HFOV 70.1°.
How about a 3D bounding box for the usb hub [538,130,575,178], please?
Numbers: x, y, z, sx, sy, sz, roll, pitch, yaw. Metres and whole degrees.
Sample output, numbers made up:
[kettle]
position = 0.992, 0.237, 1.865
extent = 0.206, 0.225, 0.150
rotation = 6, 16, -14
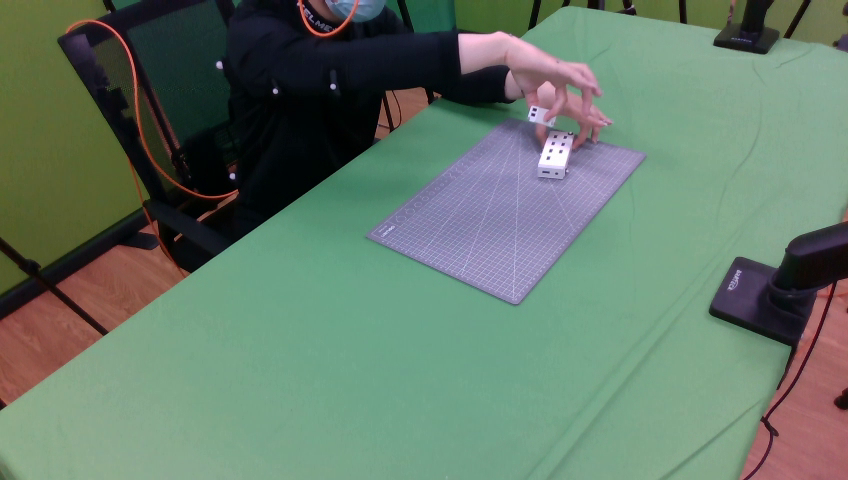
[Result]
[usb hub]
position = 0.244, -0.159, 1.112
extent = 0.049, 0.025, 0.125
rotation = 8, 44, 18

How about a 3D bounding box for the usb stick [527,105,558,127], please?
[usb stick]
position = 0.207, -0.210, 1.033
extent = 0.060, 0.027, 0.021
rotation = 10, 15, -35
